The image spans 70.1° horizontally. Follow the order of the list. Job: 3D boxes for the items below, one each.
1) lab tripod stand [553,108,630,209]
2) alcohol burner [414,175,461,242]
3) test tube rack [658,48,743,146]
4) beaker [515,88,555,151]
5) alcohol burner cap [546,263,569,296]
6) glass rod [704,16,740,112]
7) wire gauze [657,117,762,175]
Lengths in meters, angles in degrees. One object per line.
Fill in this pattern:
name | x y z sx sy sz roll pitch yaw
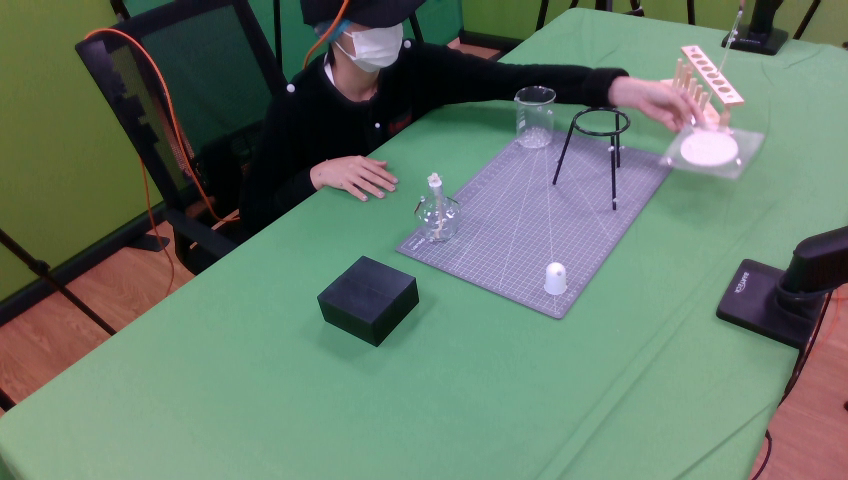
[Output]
lab tripod stand | 0.292 -0.144 1.010 0.148 0.132 0.147 -5 38 4
alcohol burner | 0.021 -0.055 0.963 0.078 0.119 0.077 -4 41 4
test tube rack | 0.532 -0.284 1.180 0.067 0.085 0.241 -5 40 4
beaker | 0.213 -0.230 1.152 0.073 0.101 0.084 20 47 29
alcohol burner cap | 0.191 0.053 0.862 0.034 0.048 0.033 -5 40 5
glass rod | 0.549 -0.320 1.117 0.008 0.200 0.008 -2 48 3
wire gauze | 0.460 -0.152 0.974 0.120 0.011 0.125 23 56 34
